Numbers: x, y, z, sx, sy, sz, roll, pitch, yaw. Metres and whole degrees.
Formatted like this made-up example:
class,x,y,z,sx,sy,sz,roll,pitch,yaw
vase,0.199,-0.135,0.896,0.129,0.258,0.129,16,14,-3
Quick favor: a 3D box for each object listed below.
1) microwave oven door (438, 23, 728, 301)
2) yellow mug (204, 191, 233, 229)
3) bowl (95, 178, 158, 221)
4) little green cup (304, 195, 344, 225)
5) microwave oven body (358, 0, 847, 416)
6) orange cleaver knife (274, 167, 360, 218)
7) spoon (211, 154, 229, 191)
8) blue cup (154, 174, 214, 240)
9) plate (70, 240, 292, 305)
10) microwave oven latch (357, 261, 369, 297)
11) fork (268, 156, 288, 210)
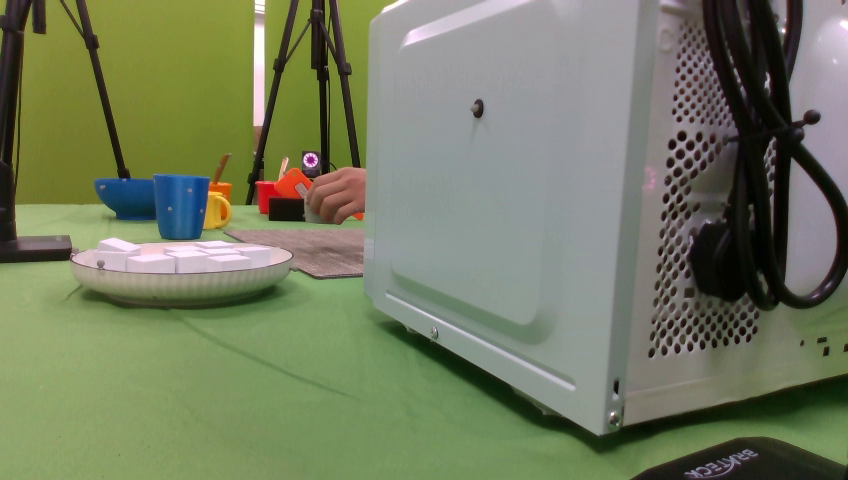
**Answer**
class,x,y,z,sx,sy,sz,roll,pitch,yaw
microwave oven door,0.181,-0.072,0.621,0.358,0.243,0.039,-2,8,-29
yellow mug,-0.415,-0.057,1.132,0.130,0.064,0.100,5,8,16
bowl,-0.576,-0.081,1.217,0.151,0.077,0.151,3,8,0
little green cup,-0.155,-0.046,0.926,0.061,0.038,0.061,7,10,-1
microwave oven body,0.211,-0.047,0.474,0.444,0.260,0.324,-1,7,-28
orange cleaver knife,-0.238,-0.091,1.381,0.212,0.077,0.012,31,0,-19
spoon,-0.431,-0.115,1.253,0.042,0.193,0.021,-3,54,-33
blue cup,-0.391,-0.053,0.978,0.093,0.100,0.092,3,6,0
plate,-0.242,0.031,0.618,0.208,0.039,0.207,2,8,0
microwave oven latch,-0.019,0.033,0.530,0.079,0.029,0.030,-1,7,-27
fork,-0.360,-0.144,1.508,0.028,0.018,0.207,1,49,0
